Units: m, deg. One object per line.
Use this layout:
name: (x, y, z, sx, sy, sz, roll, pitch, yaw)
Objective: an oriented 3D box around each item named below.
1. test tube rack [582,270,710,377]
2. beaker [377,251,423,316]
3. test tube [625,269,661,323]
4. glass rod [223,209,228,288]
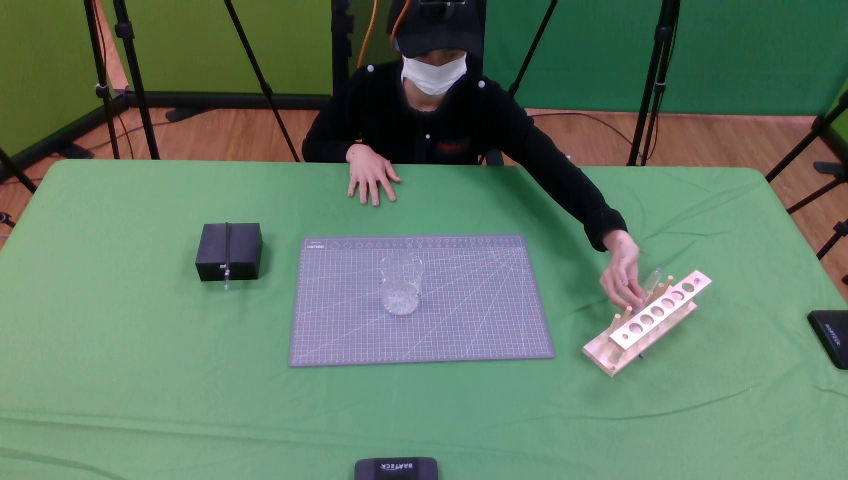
test tube rack: (0.389, 0.132, 1.057, 0.242, 0.085, 0.066, -28, 54, -28)
beaker: (-0.040, 0.081, 1.060, 0.074, 0.101, 0.083, -32, 57, -30)
test tube: (0.369, 0.098, 1.025, 0.017, 0.151, 0.017, 2, 49, -2)
glass rod: (-0.361, 0.011, 1.098, 0.008, 0.008, 0.198, -8, 47, -12)
